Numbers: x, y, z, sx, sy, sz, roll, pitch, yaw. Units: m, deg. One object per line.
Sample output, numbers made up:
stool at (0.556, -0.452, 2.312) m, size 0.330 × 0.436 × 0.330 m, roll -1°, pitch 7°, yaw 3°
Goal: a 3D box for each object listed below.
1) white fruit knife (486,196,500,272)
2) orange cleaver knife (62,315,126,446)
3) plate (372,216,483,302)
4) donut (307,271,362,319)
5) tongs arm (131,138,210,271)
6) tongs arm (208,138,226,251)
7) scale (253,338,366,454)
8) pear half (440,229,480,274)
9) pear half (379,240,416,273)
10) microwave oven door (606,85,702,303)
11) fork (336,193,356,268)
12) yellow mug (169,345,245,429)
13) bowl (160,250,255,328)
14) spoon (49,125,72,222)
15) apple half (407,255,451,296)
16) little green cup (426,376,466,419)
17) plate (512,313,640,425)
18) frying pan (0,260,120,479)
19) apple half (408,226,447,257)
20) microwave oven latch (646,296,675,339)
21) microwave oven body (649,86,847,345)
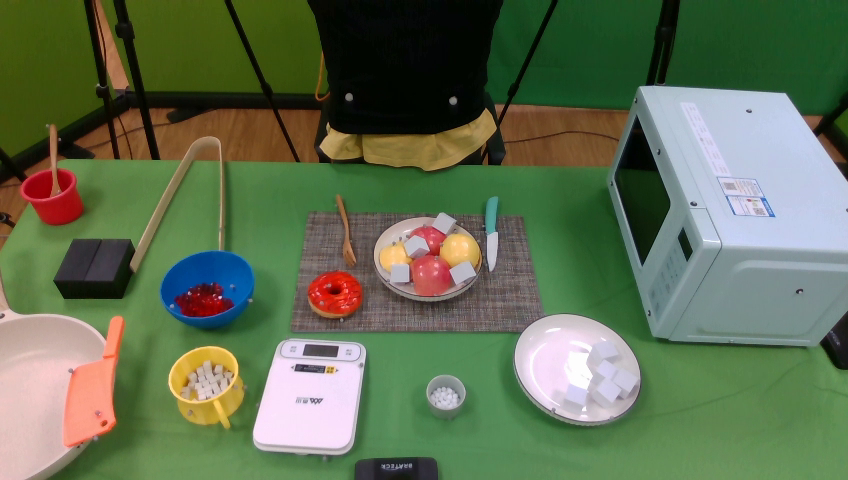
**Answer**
white fruit knife at (0.138, -0.015, 1.221) m, size 0.027 × 0.016 × 0.206 m, roll -2°, pitch 46°, yaw 10°
orange cleaver knife at (-0.480, 0.199, 0.887) m, size 0.077 × 0.012 × 0.210 m, roll -8°, pitch 47°, yaw -8°
plate at (0.006, 0.038, 1.145) m, size 0.209 × 0.038 × 0.208 m, roll 2°, pitch 46°, yaw -2°
donut at (-0.158, 0.097, 1.073) m, size 0.099 × 0.048 × 0.098 m, roll 4°, pitch 45°, yaw -4°
tongs arm at (-0.514, -0.087, 1.238) m, size 0.028 × 0.028 × 0.385 m, roll 0°, pitch 45°, yaw 5°
tongs arm at (-0.430, -0.090, 1.245) m, size 0.051 × 0.026 × 0.382 m, roll -7°, pitch 46°, yaw -7°
scale at (-0.175, 0.236, 0.951) m, size 0.149 × 0.032 × 0.199 m, roll 4°, pitch 45°, yaw 0°
pear half at (0.065, 0.007, 1.151) m, size 0.076 × 0.056 × 0.109 m, roll -10°, pitch 43°, yaw -2°
pear half at (-0.048, 0.024, 1.147) m, size 0.070 × 0.031 × 0.087 m, roll 12°, pitch 47°, yaw -11°
microwave oven door at (0.422, -0.094, 1.140) m, size 0.039 × 0.245 × 0.353 m, roll 2°, pitch 46°, yaw -1°
fork at (-0.158, -0.024, 1.207) m, size 0.019 × 0.028 × 0.206 m, roll 15°, pitch 38°, yaw -27°
yellow mug at (-0.322, 0.230, 0.922) m, size 0.100 × 0.064 × 0.130 m, roll -24°, pitch 53°, yaw -25°
bowl at (-0.362, 0.098, 1.040) m, size 0.151 × 0.077 × 0.150 m, roll 2°, pitch 45°, yaw -2°
spoon at (-0.718, -0.131, 1.189) m, size 0.041 × 0.021 × 0.193 m, roll -4°, pitch 90°, yaw -7°
apple half at (0.011, 0.058, 1.103) m, size 0.075 × 0.053 × 0.080 m, roll -6°, pitch 43°, yaw -13°
little green cup at (0.033, 0.248, 0.950) m, size 0.061 × 0.039 × 0.061 m, roll 2°, pitch 46°, yaw -2°
plate at (0.246, 0.213, 0.999) m, size 0.208 × 0.039 × 0.206 m, roll 2°, pitch 46°, yaw -2°
frying pan at (-0.647, 0.164, 0.936) m, size 0.307 × 0.103 × 0.485 m, roll -19°, pitch 58°, yaw -22°
apple half at (0.010, -0.006, 1.176) m, size 0.081 × 0.033 × 0.081 m, roll 2°, pitch 51°, yaw -2°
microwave oven latch at (0.412, 0.134, 1.061) m, size 0.030 × 0.029 × 0.078 m, roll 4°, pitch 45°, yaw 1°
microwave oven body at (0.567, -0.053, 1.118) m, size 0.326 × 0.261 × 0.439 m, roll 2°, pitch 45°, yaw -1°
